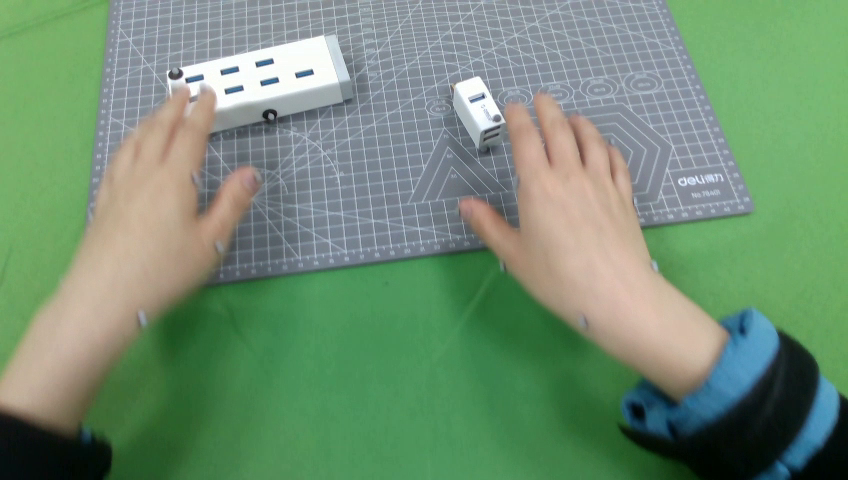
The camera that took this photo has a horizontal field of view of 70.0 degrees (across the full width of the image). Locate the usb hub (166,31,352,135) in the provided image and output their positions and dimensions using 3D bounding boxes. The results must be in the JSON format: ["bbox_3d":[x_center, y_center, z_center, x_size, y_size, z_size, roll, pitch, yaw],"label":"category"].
[{"bbox_3d":[-0.120,-0.116,0.442,0.125,0.025,0.049,-15,65,-8],"label":"usb hub"}]

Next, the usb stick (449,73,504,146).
[{"bbox_3d":[0.035,-0.099,0.435,0.021,0.027,0.058,-22,64,-9],"label":"usb stick"}]
